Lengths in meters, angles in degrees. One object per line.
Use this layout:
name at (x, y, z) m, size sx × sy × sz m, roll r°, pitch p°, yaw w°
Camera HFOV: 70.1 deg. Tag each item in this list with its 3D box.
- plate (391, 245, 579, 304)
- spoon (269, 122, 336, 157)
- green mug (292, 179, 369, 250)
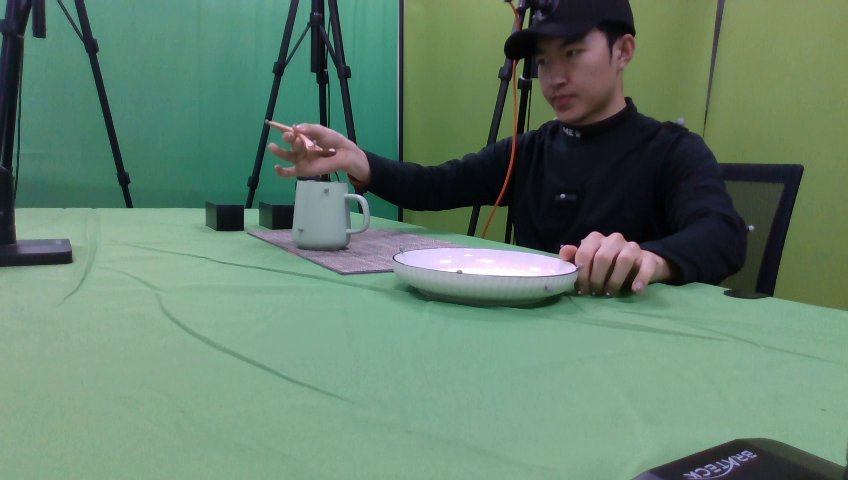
plate at (0.066, 0.038, 0.683) m, size 0.209 × 0.038 × 0.209 m, roll 2°, pitch 7°, yaw 0°
spoon at (-0.204, -0.168, 0.987) m, size 0.042 × 0.021 × 0.192 m, roll 2°, pitch 24°, yaw -43°
green mug at (-0.144, -0.040, 0.944) m, size 0.125 × 0.105 × 0.093 m, roll 4°, pitch 7°, yaw 16°
